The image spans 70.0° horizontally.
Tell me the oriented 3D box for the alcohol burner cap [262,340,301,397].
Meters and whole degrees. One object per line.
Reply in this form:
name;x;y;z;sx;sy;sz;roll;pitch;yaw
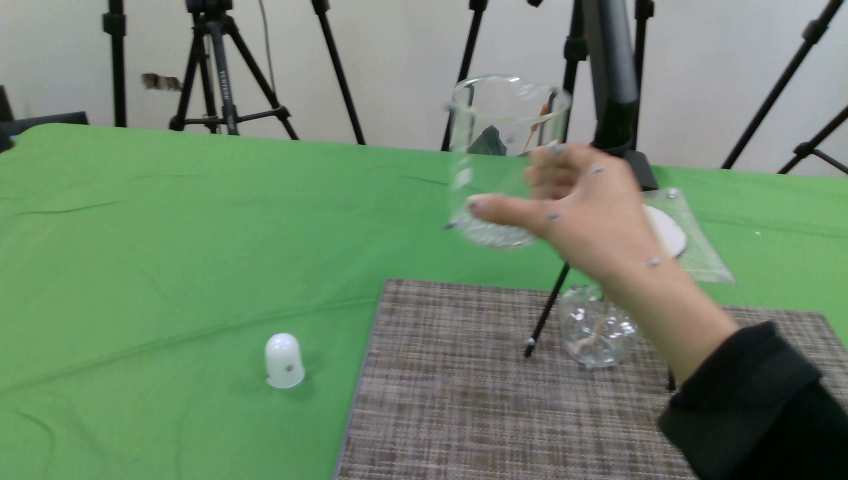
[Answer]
alcohol burner cap;-0.124;0.108;0.520;0.034;0.048;0.033;2;35;-1

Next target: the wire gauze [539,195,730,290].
wire gauze;0.164;-0.003;0.489;0.125;0.011;0.120;2;35;-2

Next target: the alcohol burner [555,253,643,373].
alcohol burner;0.157;0.059;0.535;0.078;0.120;0.077;2;36;-1

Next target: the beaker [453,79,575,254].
beaker;0.058;-0.049;0.410;0.073;0.101;0.084;17;37;21

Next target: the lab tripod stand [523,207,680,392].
lab tripod stand;0.166;0.050;0.531;0.148;0.132;0.147;3;34;-2
